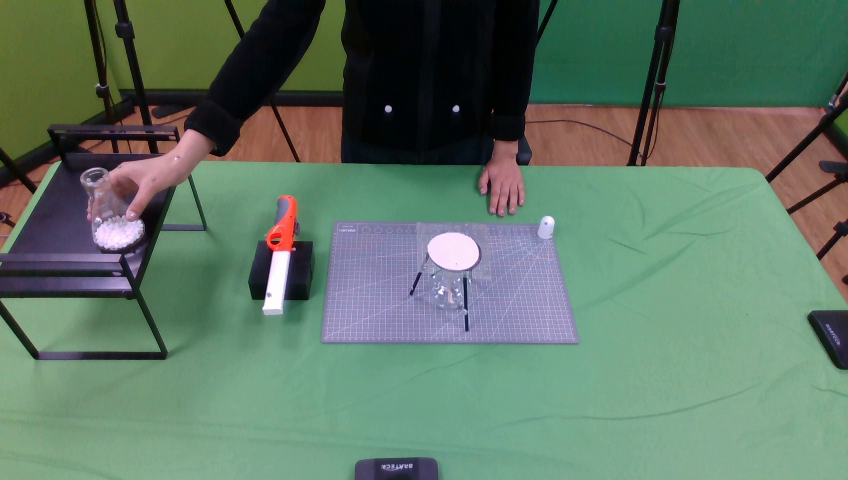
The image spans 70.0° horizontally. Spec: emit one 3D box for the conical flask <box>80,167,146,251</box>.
[{"bbox_3d":[-0.462,-0.049,0.889,0.075,0.122,0.075,2,46,-2],"label":"conical flask"}]

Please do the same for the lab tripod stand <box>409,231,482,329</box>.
[{"bbox_3d":[0.051,0.064,1.060,0.148,0.132,0.147,4,46,-4],"label":"lab tripod stand"}]

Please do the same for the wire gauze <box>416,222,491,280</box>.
[{"bbox_3d":[0.048,0.014,1.013,0.125,0.011,0.120,3,47,-3],"label":"wire gauze"}]

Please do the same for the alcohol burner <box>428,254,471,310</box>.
[{"bbox_3d":[0.046,0.068,1.070,0.078,0.119,0.077,3,45,-3],"label":"alcohol burner"}]

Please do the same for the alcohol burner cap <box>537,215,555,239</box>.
[{"bbox_3d":[0.249,-0.029,1.228,0.034,0.048,0.033,1,48,-1],"label":"alcohol burner cap"}]

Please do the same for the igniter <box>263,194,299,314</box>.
[{"bbox_3d":[-0.259,0.016,1.093,0.057,0.025,0.274,-3,49,-2],"label":"igniter"}]
